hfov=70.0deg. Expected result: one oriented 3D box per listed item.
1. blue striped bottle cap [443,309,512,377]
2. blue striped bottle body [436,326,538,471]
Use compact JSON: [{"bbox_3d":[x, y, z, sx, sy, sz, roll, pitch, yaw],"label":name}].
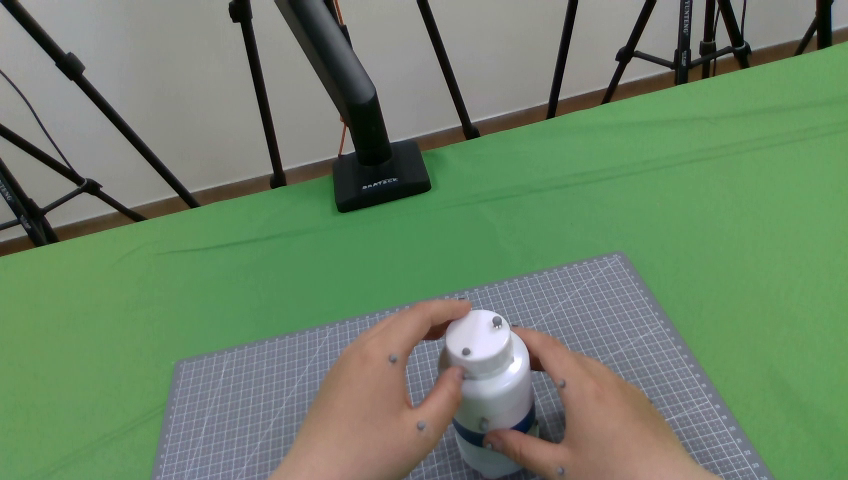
[{"bbox_3d":[0.034,0.066,0.393,0.044,0.021,0.044,-7,40,6],"label":"blue striped bottle cap"},{"bbox_3d":[0.045,0.104,0.426,0.063,0.122,0.062,-8,40,7],"label":"blue striped bottle body"}]
